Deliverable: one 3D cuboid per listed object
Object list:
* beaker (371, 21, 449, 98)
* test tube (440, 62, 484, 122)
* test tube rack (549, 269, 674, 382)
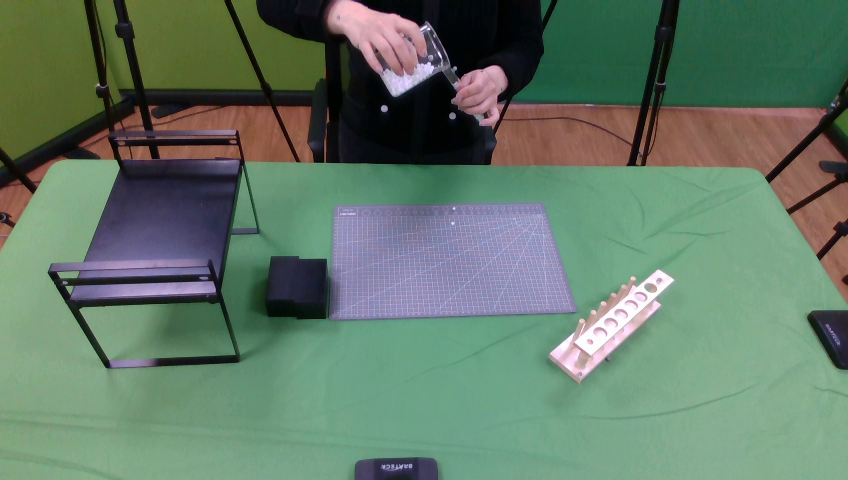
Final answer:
[{"bbox_3d":[-0.021,-0.266,0.912,0.100,0.084,0.073,-31,50,5],"label":"beaker"},{"bbox_3d":[0.066,-0.240,0.997,0.017,0.151,0.017,-13,61,24],"label":"test tube"},{"bbox_3d":[0.325,0.134,1.047,0.242,0.085,0.066,-32,56,-30],"label":"test tube rack"}]
